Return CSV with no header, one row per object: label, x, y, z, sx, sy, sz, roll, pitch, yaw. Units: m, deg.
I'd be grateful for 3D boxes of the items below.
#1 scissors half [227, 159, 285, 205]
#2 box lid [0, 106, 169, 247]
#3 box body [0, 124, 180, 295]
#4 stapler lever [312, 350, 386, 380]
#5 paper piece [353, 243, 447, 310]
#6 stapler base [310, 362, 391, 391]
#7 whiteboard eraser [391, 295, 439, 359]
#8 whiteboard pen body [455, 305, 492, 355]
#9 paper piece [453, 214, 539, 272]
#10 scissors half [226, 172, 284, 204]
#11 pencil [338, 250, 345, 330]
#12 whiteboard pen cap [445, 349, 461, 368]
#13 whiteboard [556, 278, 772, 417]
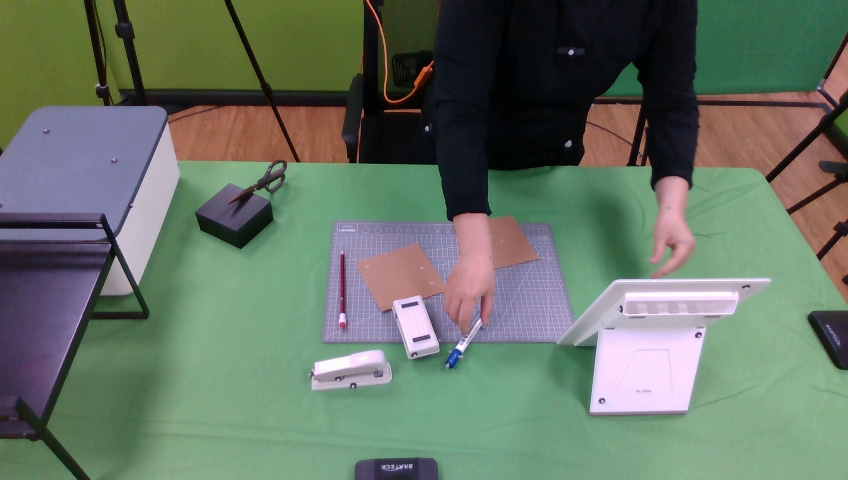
scissors half,-0.336,-0.117,1.218,0.013,0.040,0.175,28,47,12
box lid,-0.624,-0.125,1.067,0.263,0.015,0.369,0,46,-3
box body,-0.628,-0.075,1.122,0.254,0.161,0.361,1,46,-4
stapler lever,-0.120,0.199,0.963,0.118,0.040,0.026,-4,44,-8
paper piece,-0.046,0.066,1.137,0.136,0.009,0.137,-13,46,-23
stapler base,-0.119,0.215,0.980,0.131,0.024,0.041,-5,44,-7
whiteboard eraser,-0.016,0.150,1.034,0.056,0.042,0.112,-10,48,-15
whiteboard pen body,0.080,0.162,1.046,0.017,0.017,0.140,25,49,19
paper piece,0.142,0.003,1.213,0.135,0.004,0.135,-11,48,-14
scissors half,-0.340,-0.101,1.230,0.013,0.040,0.175,24,29,16
pencil,-0.152,0.086,1.108,0.012,0.012,0.192,-2,44,-7
whiteboard pen cap,0.049,0.196,1.011,0.018,0.018,0.033,24,51,18
whiteboard,0.347,0.174,0.903,0.217,0.306,0.143,1,65,-4
